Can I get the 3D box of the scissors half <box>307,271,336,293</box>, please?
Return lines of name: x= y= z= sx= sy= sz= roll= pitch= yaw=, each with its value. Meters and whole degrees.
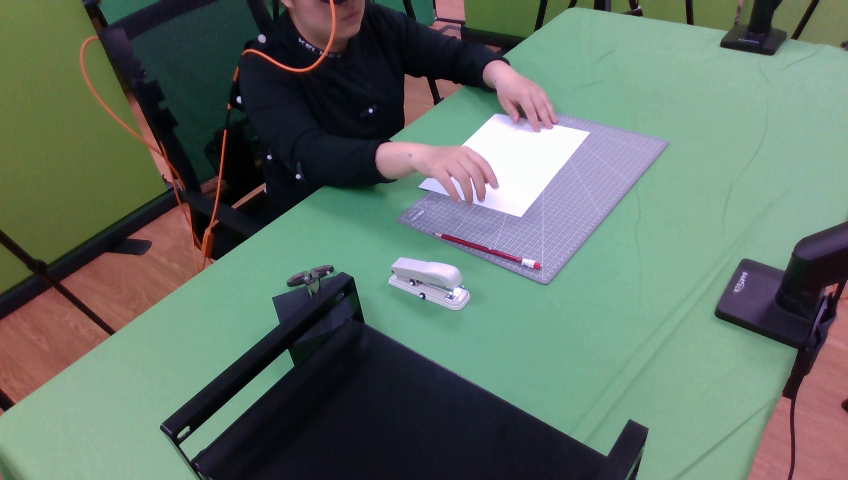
scissors half: x=-0.152 y=0.061 z=0.872 sx=0.040 sy=0.013 sz=0.175 roll=-2 pitch=5 yaw=-4

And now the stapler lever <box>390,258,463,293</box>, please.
stapler lever: x=0.003 y=0.046 z=0.881 sx=0.117 sy=0.040 sz=0.027 roll=17 pitch=43 yaw=29

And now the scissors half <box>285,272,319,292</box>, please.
scissors half: x=-0.171 y=0.063 z=0.868 sx=0.040 sy=0.013 sz=0.174 roll=-10 pitch=6 yaw=-21

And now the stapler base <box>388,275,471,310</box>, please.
stapler base: x=0.007 y=0.066 z=0.897 sx=0.129 sy=0.024 sz=0.041 roll=17 pitch=43 yaw=29

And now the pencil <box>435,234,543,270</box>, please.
pencil: x=0.097 y=0.015 z=0.949 sx=0.192 sy=0.012 sz=0.012 roll=18 pitch=46 yaw=29
